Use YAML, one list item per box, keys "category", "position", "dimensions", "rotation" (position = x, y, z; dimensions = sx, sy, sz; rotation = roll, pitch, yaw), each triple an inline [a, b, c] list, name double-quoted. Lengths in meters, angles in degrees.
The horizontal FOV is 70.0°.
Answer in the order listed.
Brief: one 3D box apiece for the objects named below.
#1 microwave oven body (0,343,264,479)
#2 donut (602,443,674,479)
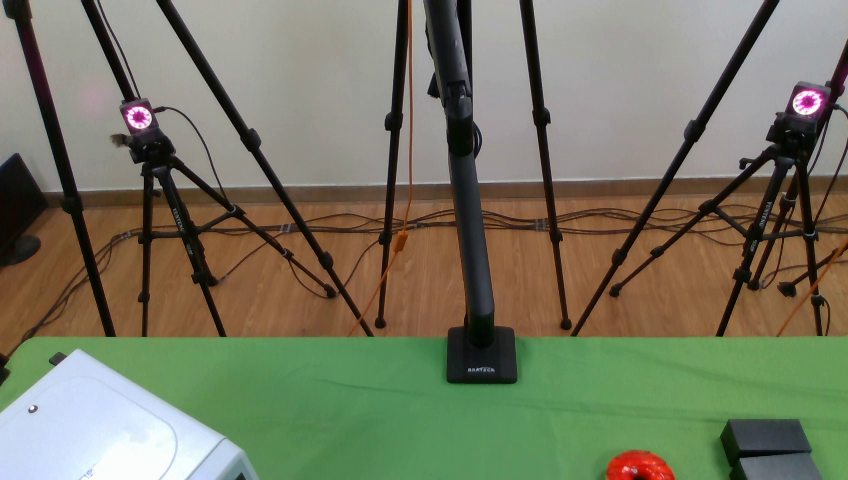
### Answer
- category: "microwave oven body"
  position: [-0.441, 0.397, 0.700]
  dimensions: [0.324, 0.263, 0.440]
  rotation: [20, 49, 23]
- category: "donut"
  position: [0.304, 0.336, 0.861]
  dimensions: [0.099, 0.049, 0.098]
  rotation: [-5, 40, 5]
